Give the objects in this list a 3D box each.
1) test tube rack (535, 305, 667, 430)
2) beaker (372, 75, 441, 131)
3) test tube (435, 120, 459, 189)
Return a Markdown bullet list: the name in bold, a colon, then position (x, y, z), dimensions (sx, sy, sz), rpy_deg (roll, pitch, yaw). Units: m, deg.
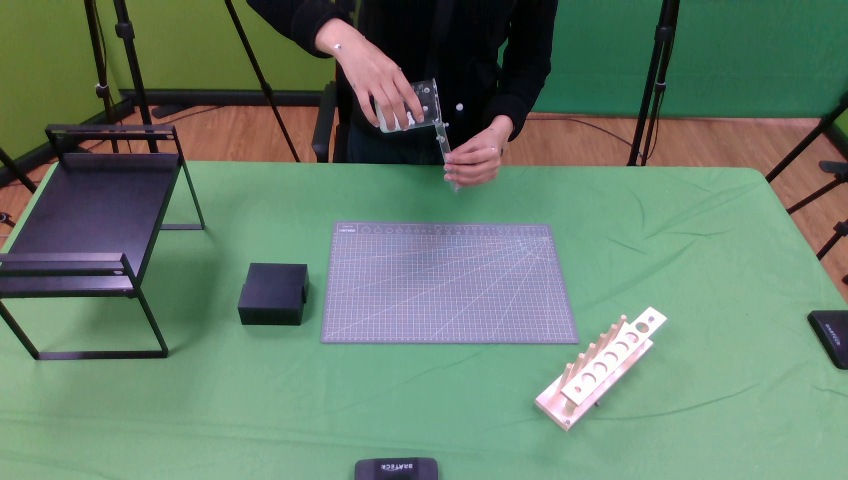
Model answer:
- **test tube rack**: position (0.290, 0.193, 0.984), dimensions (0.242, 0.085, 0.066), rpy_deg (-32, 56, -30)
- **beaker**: position (-0.027, -0.213, 0.965), dimensions (0.100, 0.084, 0.073), rpy_deg (-9, 42, 1)
- **test tube**: position (0.040, -0.144, 1.044), dimensions (0.017, 0.151, 0.017), rpy_deg (-8, 47, 10)
